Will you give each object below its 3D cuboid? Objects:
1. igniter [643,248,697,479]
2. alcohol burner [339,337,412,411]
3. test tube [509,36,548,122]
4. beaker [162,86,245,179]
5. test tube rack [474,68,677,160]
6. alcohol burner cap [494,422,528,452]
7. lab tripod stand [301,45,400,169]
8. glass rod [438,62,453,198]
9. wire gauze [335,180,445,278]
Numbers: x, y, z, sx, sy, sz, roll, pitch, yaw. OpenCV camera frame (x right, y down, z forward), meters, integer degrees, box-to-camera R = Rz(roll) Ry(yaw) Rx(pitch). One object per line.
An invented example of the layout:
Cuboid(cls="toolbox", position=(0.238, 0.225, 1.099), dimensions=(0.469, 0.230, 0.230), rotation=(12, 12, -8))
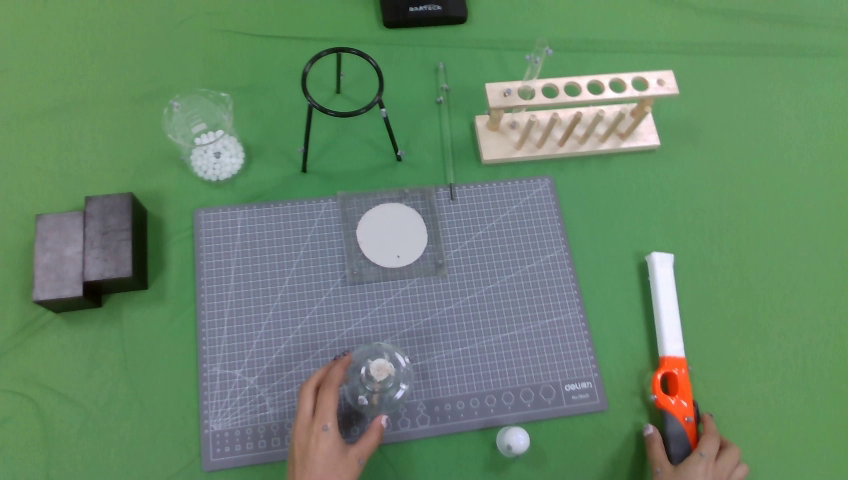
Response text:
Cuboid(cls="igniter", position=(0.288, 0.142, 0.713), dimensions=(0.057, 0.025, 0.274), rotation=(7, 70, -16))
Cuboid(cls="alcohol burner", position=(-0.049, 0.136, 0.630), dimensions=(0.078, 0.119, 0.077), rotation=(3, 68, -6))
Cuboid(cls="test tube", position=(0.123, -0.188, 0.727), dimensions=(0.017, 0.151, 0.017), rotation=(2, 67, -3))
Cuboid(cls="beaker", position=(-0.251, -0.123, 0.710), dimensions=(0.074, 0.101, 0.084), rotation=(42, 71, 9))
Cuboid(cls="test tube rack", position=(0.193, -0.161, 0.777), dimensions=(0.243, 0.085, 0.066), rotation=(-6, 71, -8))
Cuboid(cls="alcohol burner cap", position=(0.097, 0.214, 0.661), dimensions=(0.034, 0.048, 0.033), rotation=(2, 69, -5))
Cuboid(cls="lab tripod stand", position=(-0.097, -0.158, 0.720), dimensions=(0.148, 0.132, 0.147), rotation=(1, 70, -3))
Cuboid(cls="glass rod", position=(0.028, -0.147, 0.795), dimensions=(0.008, 0.008, 0.198), rotation=(-1, 72, -7))
Cuboid(cls="wire gauze", position=(-0.042, -0.014, 0.740), dimensions=(0.125, 0.011, 0.120), rotation=(-5, 70, -7))
